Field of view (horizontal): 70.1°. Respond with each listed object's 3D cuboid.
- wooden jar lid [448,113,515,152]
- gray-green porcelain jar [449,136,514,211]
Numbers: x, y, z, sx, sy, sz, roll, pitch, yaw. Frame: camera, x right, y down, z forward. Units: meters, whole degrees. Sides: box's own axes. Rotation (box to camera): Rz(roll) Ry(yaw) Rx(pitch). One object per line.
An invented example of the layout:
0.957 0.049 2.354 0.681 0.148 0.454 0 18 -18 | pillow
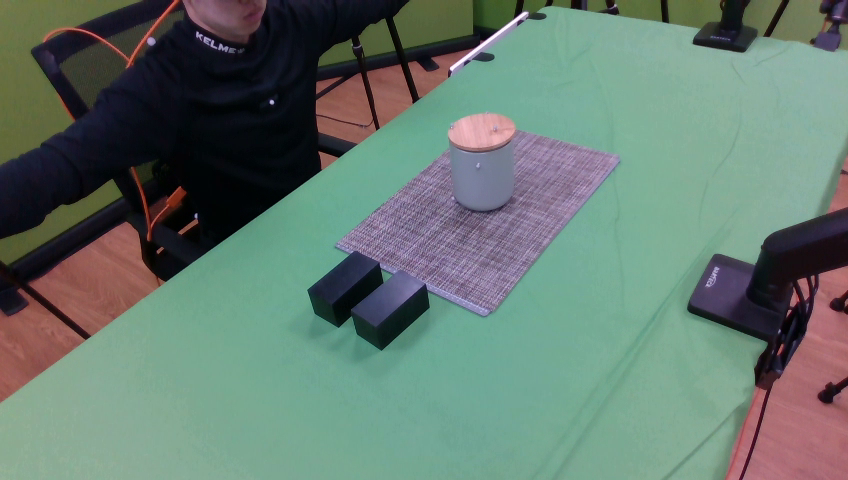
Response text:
0.092 -0.168 0.967 0.108 0.021 0.108 -6 38 5 | wooden jar lid
0.098 -0.120 1.008 0.106 0.127 0.105 -4 41 4 | gray-green porcelain jar
